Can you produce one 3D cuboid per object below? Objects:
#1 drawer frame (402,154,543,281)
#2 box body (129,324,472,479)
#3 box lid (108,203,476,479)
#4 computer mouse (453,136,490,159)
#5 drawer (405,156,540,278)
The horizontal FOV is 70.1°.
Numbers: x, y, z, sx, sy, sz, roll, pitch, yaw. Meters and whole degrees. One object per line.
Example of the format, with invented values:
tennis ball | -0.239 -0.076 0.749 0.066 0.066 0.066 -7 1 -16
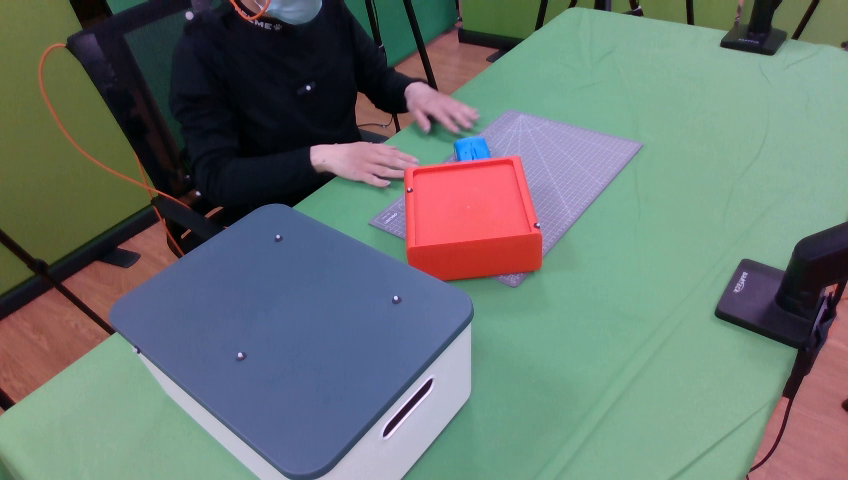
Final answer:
drawer frame | 0.071 -0.041 0.958 0.202 0.083 0.212 -6 41 1
box body | -0.147 0.136 0.726 0.361 0.161 0.255 24 50 32
box lid | -0.156 0.079 0.678 0.368 0.015 0.264 24 49 32
computer mouse | 0.091 -0.157 1.128 0.063 0.041 0.116 -7 45 -2
drawer | 0.071 -0.040 0.961 0.194 0.073 0.210 -5 41 1
